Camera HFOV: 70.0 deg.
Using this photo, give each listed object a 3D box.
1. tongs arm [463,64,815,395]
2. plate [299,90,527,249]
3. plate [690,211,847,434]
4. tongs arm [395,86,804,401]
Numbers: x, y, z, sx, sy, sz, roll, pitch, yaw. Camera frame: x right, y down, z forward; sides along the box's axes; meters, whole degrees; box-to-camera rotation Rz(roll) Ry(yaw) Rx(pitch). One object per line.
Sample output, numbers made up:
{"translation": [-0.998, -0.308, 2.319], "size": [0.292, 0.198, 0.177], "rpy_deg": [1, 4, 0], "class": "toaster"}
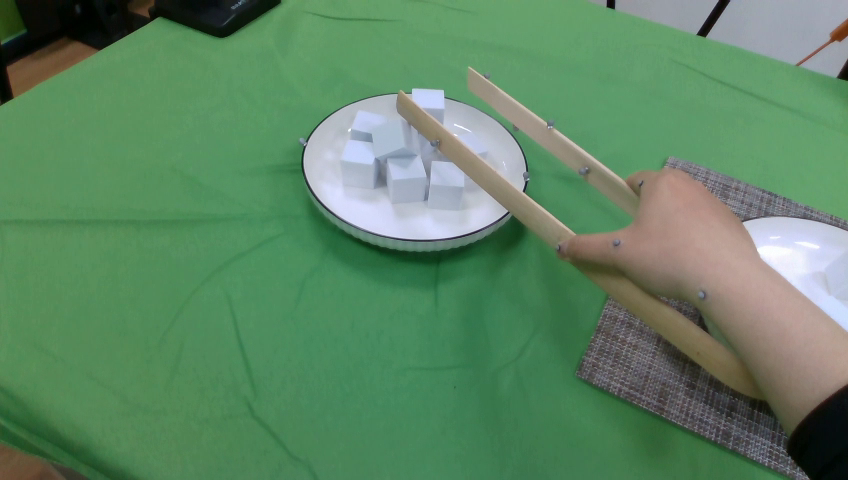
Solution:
{"translation": [0.132, -0.037, 0.476], "size": [0.051, 0.027, 0.380], "rpy_deg": [-25, 53, -26], "class": "tongs arm"}
{"translation": [-0.010, -0.065, 0.567], "size": [0.209, 0.038, 0.207], "rpy_deg": [3, 48, -3], "class": "plate"}
{"translation": [0.313, 0.062, 0.483], "size": [0.208, 0.039, 0.205], "rpy_deg": [3, 49, -3], "class": "plate"}
{"translation": [0.095, -0.019, 0.458], "size": [0.028, 0.028, 0.383], "rpy_deg": [-25, 53, -30], "class": "tongs arm"}
